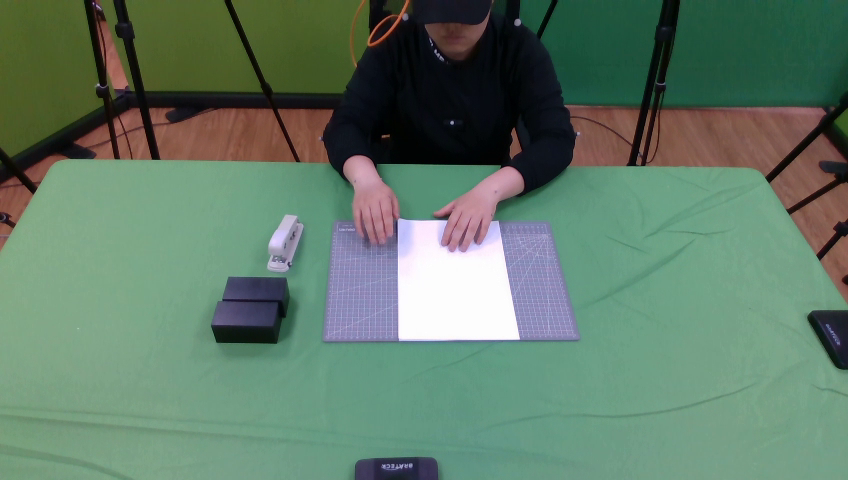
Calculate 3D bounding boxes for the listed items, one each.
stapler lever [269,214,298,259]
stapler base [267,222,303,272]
[{"bbox_3d":[-0.268,-0.013,1.154,0.027,0.040,0.117,8,44,0],"label":"stapler lever"},{"bbox_3d":[-0.269,0.006,1.170,0.041,0.024,0.130,8,44,0],"label":"stapler base"}]
